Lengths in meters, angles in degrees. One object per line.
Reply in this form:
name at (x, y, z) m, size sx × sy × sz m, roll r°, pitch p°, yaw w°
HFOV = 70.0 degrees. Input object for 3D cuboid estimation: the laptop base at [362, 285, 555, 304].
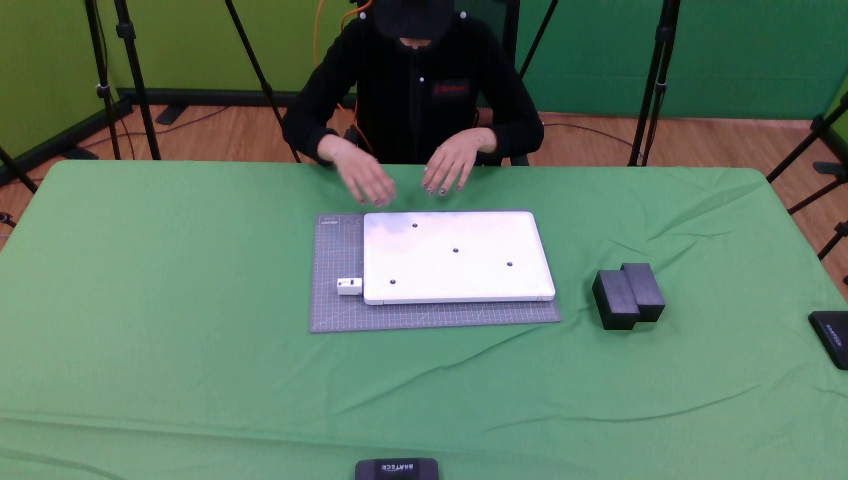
laptop base at (0.059, 0.032, 1.174) m, size 0.355 × 0.023 × 0.234 m, roll -1°, pitch 43°, yaw -5°

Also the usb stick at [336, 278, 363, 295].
usb stick at (-0.128, 0.083, 1.094) m, size 0.059 × 0.027 × 0.021 m, roll 2°, pitch 44°, yaw -5°

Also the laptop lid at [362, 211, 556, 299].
laptop lid at (0.059, 0.022, 1.168) m, size 0.357 × 0.013 × 0.240 m, roll 0°, pitch 44°, yaw -4°
